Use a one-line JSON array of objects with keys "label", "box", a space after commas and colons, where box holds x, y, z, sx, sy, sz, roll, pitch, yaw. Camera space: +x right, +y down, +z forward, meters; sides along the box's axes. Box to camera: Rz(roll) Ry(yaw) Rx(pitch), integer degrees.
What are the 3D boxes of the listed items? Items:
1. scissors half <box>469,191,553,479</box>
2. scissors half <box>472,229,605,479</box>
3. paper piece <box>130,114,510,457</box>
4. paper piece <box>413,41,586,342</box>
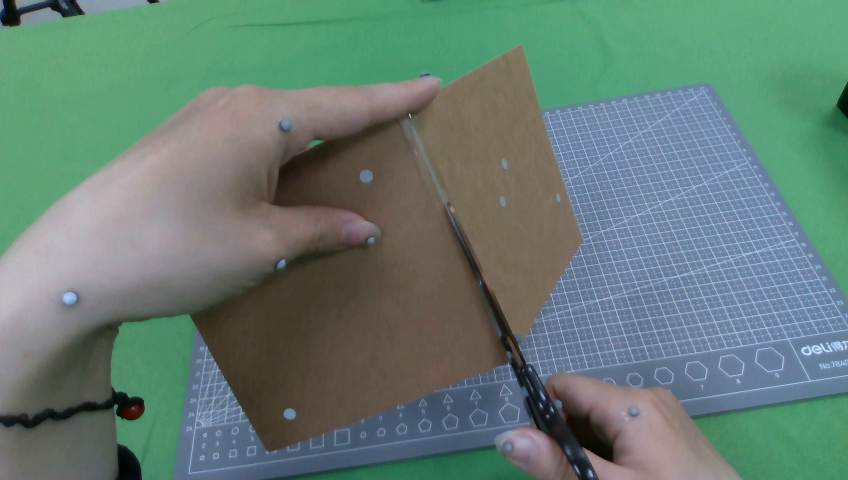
[{"label": "scissors half", "box": [0.044, 0.058, 0.305, 0.013, 0.176, 0.039, -19, 20, -12]}, {"label": "scissors half", "box": [0.050, 0.058, 0.283, 0.013, 0.040, 0.174, -20, 79, -17]}, {"label": "paper piece", "box": [-0.047, 0.028, 0.291, 0.138, 0.136, 0.008, -22, 13, 5]}, {"label": "paper piece", "box": [0.053, -0.031, 0.335, 0.004, 0.136, 0.135, -9, 21, 37]}]
